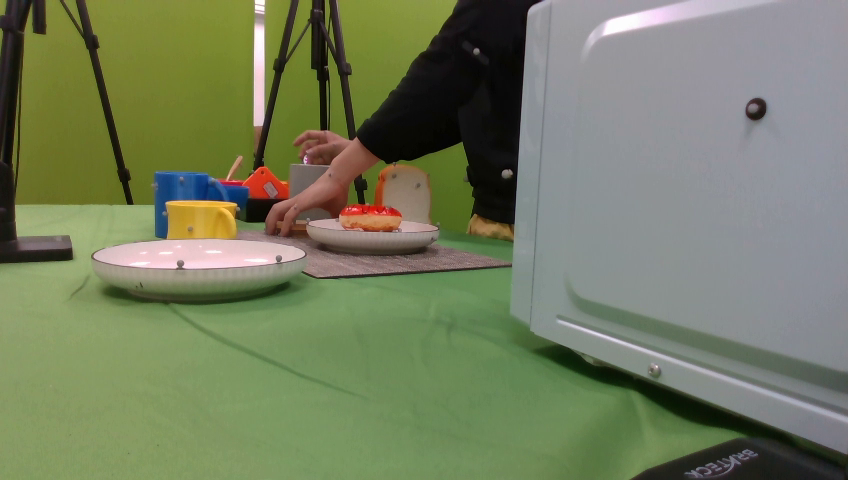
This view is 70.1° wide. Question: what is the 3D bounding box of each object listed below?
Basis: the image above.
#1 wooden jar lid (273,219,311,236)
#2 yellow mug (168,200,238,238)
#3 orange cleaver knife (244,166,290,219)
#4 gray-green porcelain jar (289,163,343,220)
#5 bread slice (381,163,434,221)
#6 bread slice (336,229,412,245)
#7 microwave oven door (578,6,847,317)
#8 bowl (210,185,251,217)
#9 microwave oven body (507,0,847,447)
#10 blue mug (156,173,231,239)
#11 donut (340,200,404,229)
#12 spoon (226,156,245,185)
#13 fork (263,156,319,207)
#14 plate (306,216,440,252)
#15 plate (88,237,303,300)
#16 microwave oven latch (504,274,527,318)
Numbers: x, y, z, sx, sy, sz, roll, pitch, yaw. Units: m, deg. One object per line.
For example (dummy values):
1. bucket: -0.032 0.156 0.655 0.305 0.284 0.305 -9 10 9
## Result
1. wooden jar lid: -0.214 -0.023 1.080 0.108 0.020 0.108 2 7 0
2. yellow mug: -0.320 -0.023 0.904 0.130 0.064 0.100 9 10 36
3. orange cleaver knife: -0.301 -0.089 1.351 0.212 0.077 0.012 32 -10 -34
4. gray-green porcelain jar: -0.218 -0.091 1.220 0.106 0.126 0.106 2 7 0
5. bread slice: -0.034 -0.076 1.124 0.107 0.134 0.018 -4 1 -25
6. bread slice: -0.074 -0.006 0.938 0.105 0.019 0.131 -1 4 -19
7. microwave oven door: 0.294 -0.067 0.570 0.358 0.243 0.039 -3 9 -31
8. bowl: -0.408 -0.064 1.154 0.151 0.077 0.151 2 8 0
9. microwave oven body: 0.331 -0.042 0.425 0.444 0.260 0.324 -2 8 -31
10. blue mug: -0.381 -0.057 1.004 0.117 0.106 0.082 0 8 -12
11. donut: -0.081 -0.038 0.945 0.099 0.048 0.099 1 5 0
12. spoon: -0.477 -0.145 1.492 0.041 0.022 0.193 -1 51 13
13. fork: -0.331 -0.144 1.505 0.207 0.018 0.028 -42 -21 22
14. plate: -0.079 -0.011 0.950 0.209 0.038 0.209 2 8 0
15. plate: -0.233 0.029 0.637 0.208 0.039 0.207 2 7 0
16. microwave oven latch: 0.100 0.041 0.471 0.079 0.029 0.030 -1 8 -28
